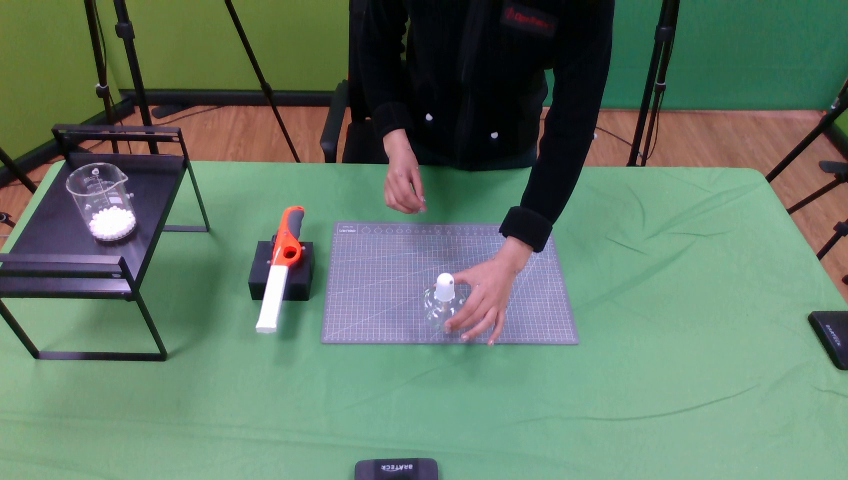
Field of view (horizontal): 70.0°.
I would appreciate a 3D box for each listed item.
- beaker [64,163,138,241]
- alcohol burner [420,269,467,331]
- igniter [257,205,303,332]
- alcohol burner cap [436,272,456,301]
[{"bbox_3d":[-0.477,-0.055,0.910,0.084,0.101,0.073,-9,48,-13],"label":"beaker"},{"bbox_3d":[0.032,0.092,0.985,0.078,0.120,0.077,-1,45,1],"label":"alcohol burner"},{"bbox_3d":[-0.252,0.040,1.069,0.057,0.025,0.275,3,49,-2],"label":"igniter"},{"bbox_3d":[0.035,0.070,0.964,0.034,0.048,0.033,0,46,0],"label":"alcohol burner cap"}]
